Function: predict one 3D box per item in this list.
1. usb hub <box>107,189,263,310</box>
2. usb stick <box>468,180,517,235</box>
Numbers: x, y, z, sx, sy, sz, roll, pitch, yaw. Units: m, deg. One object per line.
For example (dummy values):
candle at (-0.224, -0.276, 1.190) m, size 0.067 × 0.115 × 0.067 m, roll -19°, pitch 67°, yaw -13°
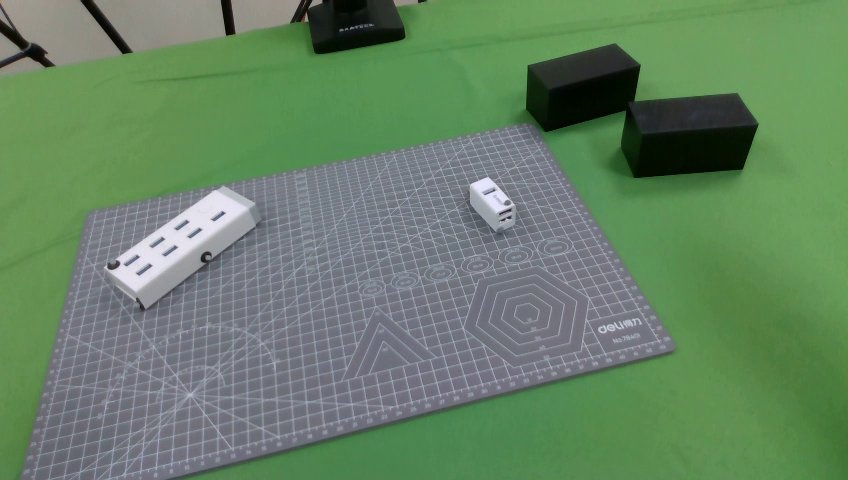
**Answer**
usb hub at (-0.204, 0.004, 0.526) m, size 0.049 × 0.025 × 0.125 m, roll 26°, pitch 53°, yaw 29°
usb stick at (0.057, -0.033, 0.533) m, size 0.021 × 0.027 × 0.058 m, roll -26°, pitch 45°, yaw -13°
